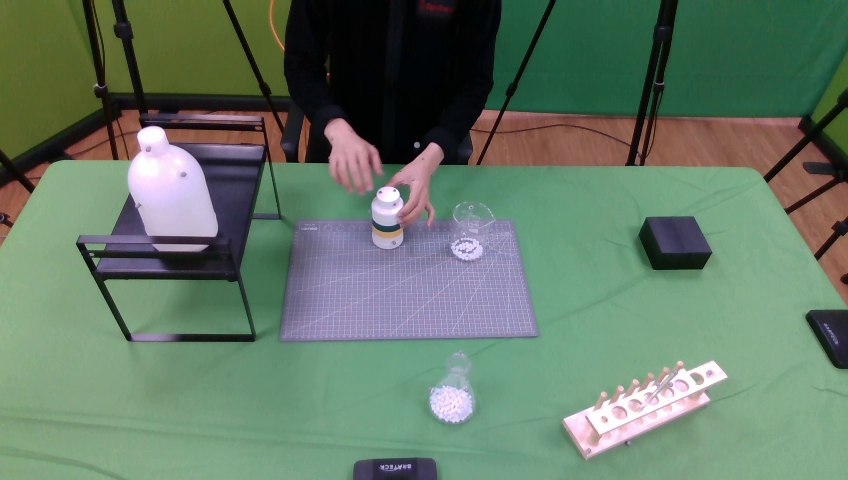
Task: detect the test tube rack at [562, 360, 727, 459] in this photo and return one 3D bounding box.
[{"bbox_3d":[0.341,0.247,0.940,0.243,0.085,0.066,-16,49,-18],"label":"test tube rack"}]

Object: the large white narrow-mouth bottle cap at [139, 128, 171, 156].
[{"bbox_3d":[-0.359,-0.131,0.808,0.038,0.024,0.037,3,47,-3],"label":"large white narrow-mouth bottle cap"}]

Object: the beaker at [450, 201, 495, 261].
[{"bbox_3d":[0.089,-0.014,1.160,0.084,0.101,0.073,9,47,4],"label":"beaker"}]

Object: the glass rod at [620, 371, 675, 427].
[{"bbox_3d":[0.316,0.230,0.863,0.008,0.200,0.008,3,54,-3],"label":"glass rod"}]

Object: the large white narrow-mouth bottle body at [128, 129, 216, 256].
[{"bbox_3d":[-0.366,-0.073,0.872,0.102,0.195,0.101,3,47,-3],"label":"large white narrow-mouth bottle body"}]

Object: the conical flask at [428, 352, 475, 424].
[{"bbox_3d":[0.046,0.220,0.920,0.075,0.122,0.075,2,46,-2],"label":"conical flask"}]

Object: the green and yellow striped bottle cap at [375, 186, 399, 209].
[{"bbox_3d":[-0.068,-0.079,1.125,0.045,0.020,0.045,1,45,-1],"label":"green and yellow striped bottle cap"}]

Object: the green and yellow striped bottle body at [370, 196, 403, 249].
[{"bbox_3d":[-0.071,-0.045,1.162,0.063,0.120,0.063,2,46,-2],"label":"green and yellow striped bottle body"}]
